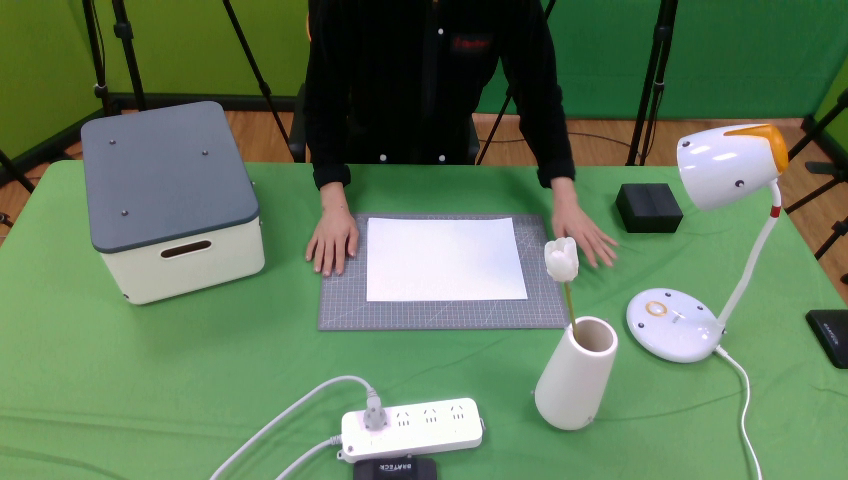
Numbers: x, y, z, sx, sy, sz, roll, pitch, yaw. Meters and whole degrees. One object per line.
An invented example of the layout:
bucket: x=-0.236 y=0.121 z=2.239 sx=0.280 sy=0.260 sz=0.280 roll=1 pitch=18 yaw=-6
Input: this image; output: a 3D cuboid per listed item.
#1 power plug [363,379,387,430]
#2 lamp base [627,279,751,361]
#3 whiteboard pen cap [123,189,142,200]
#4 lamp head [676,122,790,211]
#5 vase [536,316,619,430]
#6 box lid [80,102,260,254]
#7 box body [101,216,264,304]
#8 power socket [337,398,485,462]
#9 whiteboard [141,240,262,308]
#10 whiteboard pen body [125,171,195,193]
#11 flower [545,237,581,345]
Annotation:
power plug: x=-0.071 y=0.252 z=0.911 sx=0.035 sy=0.053 sz=0.072 roll=3 pitch=40 yaw=0
lamp base: x=0.460 y=0.100 z=1.027 sx=0.178 sy=0.181 sz=0.160 roll=27 pitch=51 yaw=17
whiteboard pen cap: x=-0.591 y=-0.092 z=1.231 sx=0.033 sy=0.018 sz=0.018 roll=-14 pitch=49 yaw=-17
lamp head: x=0.423 y=-0.104 z=0.819 sx=0.122 sy=0.113 sz=0.112 roll=-13 pitch=33 yaw=40
vase: x=0.229 y=0.200 z=0.901 sx=0.098 sy=0.201 sz=0.097 roll=3 pitch=46 yaw=-3
box lid: x=-0.461 y=-0.127 z=1.082 sx=0.264 sy=0.015 sz=0.369 roll=-15 pitch=49 yaw=-19
box body: x=-0.465 y=-0.076 z=1.137 sx=0.254 sy=0.161 sz=0.361 roll=-16 pitch=50 yaw=-19
power socket: x=-0.018 y=0.285 z=0.914 sx=0.227 sy=0.033 sz=0.071 roll=-4 pitch=46 yaw=-8
whiteboard: x=-0.464 y=-0.059 z=1.137 sx=0.217 sy=0.144 sz=0.303 roll=-19 pitch=51 yaw=-17
whiteboard pen body: x=-0.553 y=-0.119 z=1.270 sx=0.141 sy=0.017 sz=0.017 roll=-18 pitch=50 yaw=-15
flower: x=0.213 y=0.137 z=0.846 sx=0.038 sy=0.364 sz=0.044 roll=21 pitch=55 yaw=40
